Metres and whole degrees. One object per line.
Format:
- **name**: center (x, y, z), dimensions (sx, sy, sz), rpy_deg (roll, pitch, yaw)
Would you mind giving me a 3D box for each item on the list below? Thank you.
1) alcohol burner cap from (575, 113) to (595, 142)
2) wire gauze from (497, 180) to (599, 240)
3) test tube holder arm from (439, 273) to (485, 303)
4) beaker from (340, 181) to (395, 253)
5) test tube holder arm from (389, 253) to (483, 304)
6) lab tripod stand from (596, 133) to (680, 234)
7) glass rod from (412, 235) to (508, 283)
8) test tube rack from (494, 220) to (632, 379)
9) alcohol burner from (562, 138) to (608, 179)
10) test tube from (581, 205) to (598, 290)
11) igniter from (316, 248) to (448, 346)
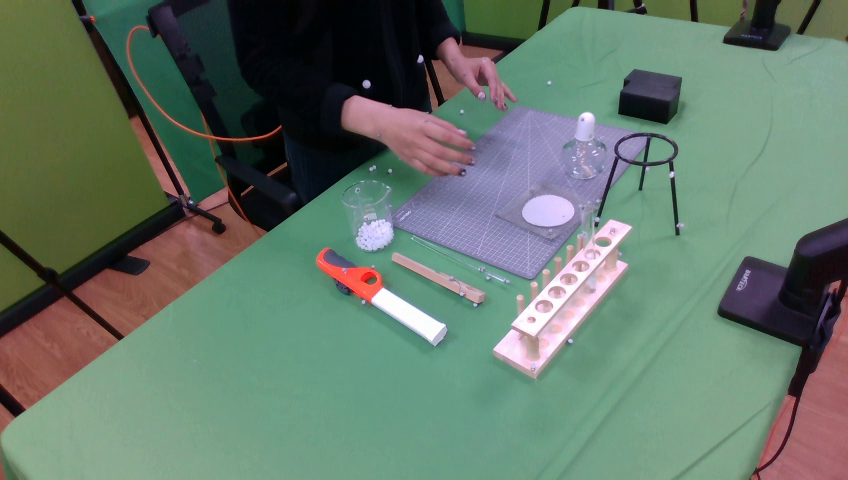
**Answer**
- **alcohol burner cap**: center (0.277, -0.193, 1.028), dimensions (0.034, 0.048, 0.033), rpy_deg (-2, 45, 3)
- **wire gauze**: center (0.206, -0.050, 1.012), dimensions (0.125, 0.011, 0.120), rpy_deg (-34, 45, -26)
- **test tube holder arm**: center (0.053, 0.071, 0.896), dimensions (0.087, 0.015, 0.010), rpy_deg (24, 14, 34)
- **beaker**: center (-0.086, -0.037, 0.985), dimensions (0.084, 0.101, 0.073), rpy_deg (-18, 41, -11)
- **test tube holder arm**: center (0.015, 0.056, 0.916), dimensions (0.177, 0.015, 0.013), rpy_deg (23, 14, 33)
- **lab tripod stand**: center (0.338, -0.090, 0.940), dimensions (0.148, 0.132, 0.147), rpy_deg (-7, 39, 6)
- **glass rod**: center (0.051, 0.028, 0.951), dimensions (0.198, 0.008, 0.008), rpy_deg (25, 51, 37)
- **test tube rack**: center (0.191, 0.068, 0.818), dimensions (0.066, 0.085, 0.243), rpy_deg (25, 51, 35)
- **alcohol burner**: center (0.280, -0.167, 1.052), dimensions (0.078, 0.119, 0.077), rpy_deg (-5, 38, 4)
- **test tube**: center (0.220, 0.014, 0.799), dimensions (0.017, 0.151, 0.017), rpy_deg (-10, 42, 9)
- **igniter**: center (-0.074, 0.078, 0.901), dimensions (0.274, 0.025, 0.057), rpy_deg (28, 63, 36)
